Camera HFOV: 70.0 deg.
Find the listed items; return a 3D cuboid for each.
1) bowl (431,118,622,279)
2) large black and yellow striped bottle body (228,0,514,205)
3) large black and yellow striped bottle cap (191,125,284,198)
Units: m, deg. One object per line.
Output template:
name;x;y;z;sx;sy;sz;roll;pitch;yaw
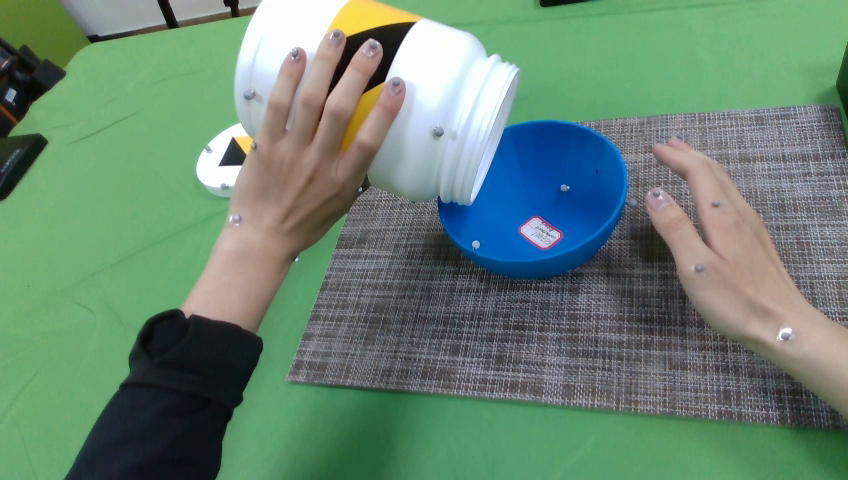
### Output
bowl;0.088;-0.021;0.505;0.151;0.077;0.150;-10;51;13
large black and yellow striped bottle body;-0.035;-0.107;0.461;0.183;0.131;0.130;21;61;6
large black and yellow striped bottle cap;-0.223;-0.098;0.723;0.115;0.019;0.114;-9;51;11
